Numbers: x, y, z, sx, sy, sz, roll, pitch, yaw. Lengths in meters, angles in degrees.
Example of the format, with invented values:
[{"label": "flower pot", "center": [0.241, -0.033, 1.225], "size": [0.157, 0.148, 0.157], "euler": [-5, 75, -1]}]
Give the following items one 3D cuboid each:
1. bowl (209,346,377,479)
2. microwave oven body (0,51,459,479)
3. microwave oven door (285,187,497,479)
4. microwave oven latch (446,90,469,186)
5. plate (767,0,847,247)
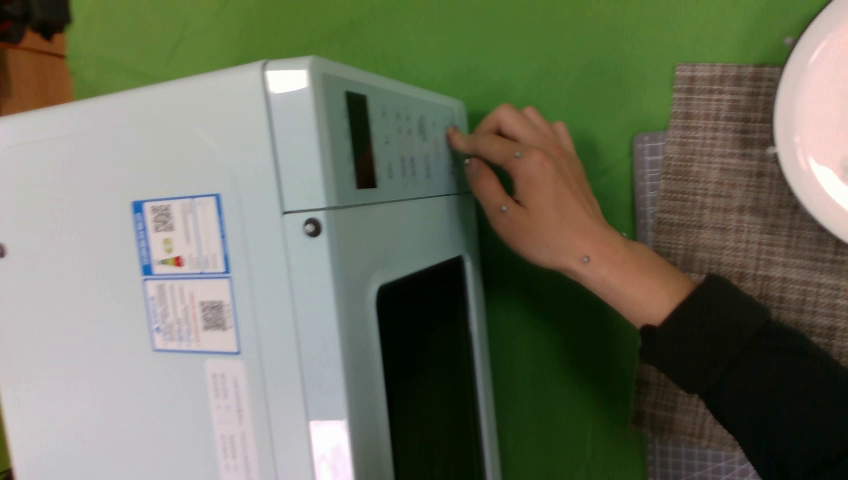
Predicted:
[{"label": "bowl", "center": [-0.099, 0.156, 0.523], "size": [0.151, 0.077, 0.151], "euler": [3, 98, 22]}, {"label": "microwave oven body", "center": [-0.139, 0.109, 0.499], "size": [0.325, 0.261, 0.442], "euler": [-3, 97, 23]}, {"label": "microwave oven door", "center": [-0.003, 0.144, 0.442], "size": [0.039, 0.244, 0.356], "euler": [-3, 96, 24]}, {"label": "microwave oven latch", "center": [0.020, -0.084, 0.510], "size": [0.030, 0.029, 0.079], "euler": [-3, 97, 23]}, {"label": "plate", "center": [0.338, -0.084, 0.390], "size": [0.208, 0.038, 0.209], "euler": [3, 97, 23]}]
